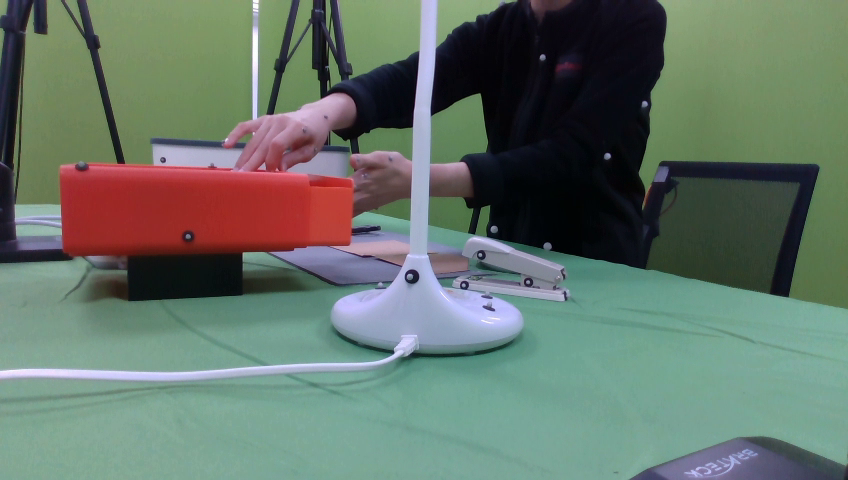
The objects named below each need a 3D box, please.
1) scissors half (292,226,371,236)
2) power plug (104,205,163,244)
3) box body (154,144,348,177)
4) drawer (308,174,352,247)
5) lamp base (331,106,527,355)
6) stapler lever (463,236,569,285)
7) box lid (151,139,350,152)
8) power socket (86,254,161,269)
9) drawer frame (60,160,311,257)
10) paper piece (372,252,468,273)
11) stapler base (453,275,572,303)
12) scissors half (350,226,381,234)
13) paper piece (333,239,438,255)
[{"bbox_3d":[-0.166,-0.015,1.094,0.040,0.013,0.176,3,7,39],"label":"scissors half"},{"bbox_3d":[-0.390,-0.021,0.815,0.073,0.052,0.035,-1,7,-28],"label":"power plug"},{"bbox_3d":[-0.357,-0.119,1.264,0.365,0.160,0.253,0,7,-18],"label":"box body"},{"bbox_3d":[-0.205,-0.036,0.653,0.213,0.073,0.193,-2,9,-26],"label":"drawer"},{"bbox_3d":[0.006,-0.012,0.478,0.161,0.180,0.179,2,10,2],"label":"lamp base"},{"bbox_3d":[0.100,0.022,0.665,0.117,0.040,0.027,8,12,23],"label":"stapler lever"},{"bbox_3d":[-0.352,-0.191,1.255,0.373,0.015,0.262,0,8,-18],"label":"box lid"},{"bbox_3d":[-0.409,0.004,0.793,0.072,0.032,0.225,-2,8,-38],"label":"power socket"},{"bbox_3d":[-0.245,-0.038,0.632,0.215,0.082,0.200,-2,9,-26],"label":"drawer frame"},{"bbox_3d":[0.021,0.029,0.829,0.139,0.008,0.135,-1,11,-36],"label":"paper piece"},{"bbox_3d":[0.097,0.047,0.670,0.130,0.024,0.041,7,12,23],"label":"stapler base"},{"bbox_3d":[-0.153,-0.015,1.079,0.176,0.013,0.040,-7,2,-33],"label":"scissors half"},{"bbox_3d":[-0.068,0.010,0.937,0.136,0.004,0.134,-2,9,-33],"label":"paper piece"}]
